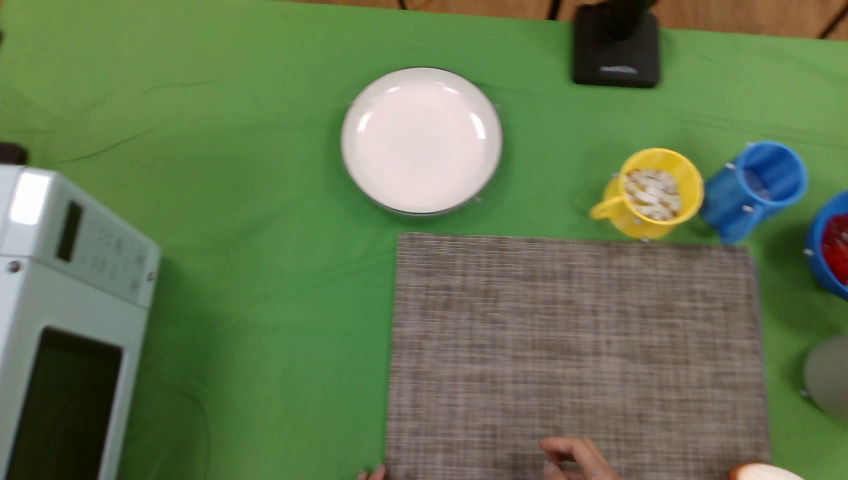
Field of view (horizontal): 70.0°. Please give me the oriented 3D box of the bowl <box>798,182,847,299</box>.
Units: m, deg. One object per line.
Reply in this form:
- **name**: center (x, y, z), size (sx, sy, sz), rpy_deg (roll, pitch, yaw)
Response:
- **bowl**: center (0.524, 0.010, 0.744), size (0.151, 0.077, 0.150), rpy_deg (0, 75, -1)

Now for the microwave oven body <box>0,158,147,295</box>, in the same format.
- **microwave oven body**: center (-0.497, 0.161, 0.573), size (0.326, 0.261, 0.439), rpy_deg (4, 75, -1)

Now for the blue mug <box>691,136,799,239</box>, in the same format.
- **blue mug**: center (0.385, -0.054, 0.744), size (0.082, 0.106, 0.116), rpy_deg (23, 75, 5)

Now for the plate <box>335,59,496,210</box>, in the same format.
- **plate**: center (-0.011, -0.134, 0.789), size (0.208, 0.039, 0.206), rpy_deg (1, 75, -2)

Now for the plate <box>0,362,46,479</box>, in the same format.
- **plate**: center (-0.487, 0.215, 0.608), size (0.209, 0.038, 0.208), rpy_deg (2, 75, -6)

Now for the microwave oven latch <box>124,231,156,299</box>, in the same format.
- **microwave oven latch**: center (-0.340, 0.029, 0.714), size (0.030, 0.029, 0.079), rpy_deg (8, 75, 0)

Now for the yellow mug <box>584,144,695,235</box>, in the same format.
- **yellow mug**: center (0.263, -0.057, 0.761), size (0.131, 0.064, 0.099), rpy_deg (-18, 75, -5)

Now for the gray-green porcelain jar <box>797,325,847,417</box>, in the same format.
- **gray-green porcelain jar**: center (0.500, 0.146, 0.681), size (0.106, 0.127, 0.105), rpy_deg (1, 74, -2)

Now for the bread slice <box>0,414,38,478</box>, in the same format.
- **bread slice**: center (-0.489, 0.233, 0.623), size (0.105, 0.019, 0.130), rpy_deg (21, 53, 2)

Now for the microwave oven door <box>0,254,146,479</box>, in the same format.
- **microwave oven door**: center (-0.355, 0.211, 0.558), size (0.039, 0.245, 0.354), rpy_deg (4, 74, 0)
